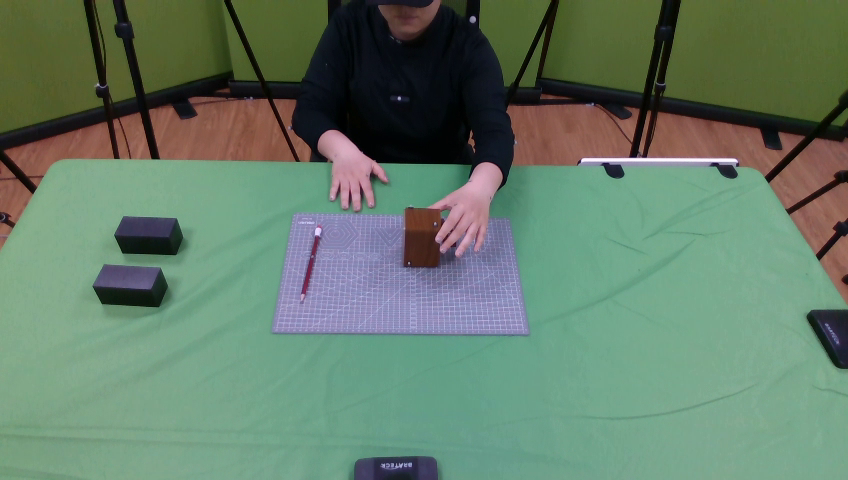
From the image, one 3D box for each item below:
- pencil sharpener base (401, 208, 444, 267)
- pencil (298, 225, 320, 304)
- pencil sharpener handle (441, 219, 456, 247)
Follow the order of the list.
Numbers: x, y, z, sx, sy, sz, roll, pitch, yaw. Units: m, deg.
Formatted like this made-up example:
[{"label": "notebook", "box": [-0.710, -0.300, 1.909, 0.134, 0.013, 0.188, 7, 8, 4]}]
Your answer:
[{"label": "pencil sharpener base", "box": [-0.004, -0.003, 1.137, 0.077, 0.107, 0.061, 1, 45, -4]}, {"label": "pencil", "box": [-0.217, 0.043, 1.144, 0.012, 0.012, 0.193, 5, 47, 0]}, {"label": "pencil sharpener handle", "box": [0.047, -0.012, 1.132, 0.031, 0.068, 0.036, 1, 50, -3]}]
